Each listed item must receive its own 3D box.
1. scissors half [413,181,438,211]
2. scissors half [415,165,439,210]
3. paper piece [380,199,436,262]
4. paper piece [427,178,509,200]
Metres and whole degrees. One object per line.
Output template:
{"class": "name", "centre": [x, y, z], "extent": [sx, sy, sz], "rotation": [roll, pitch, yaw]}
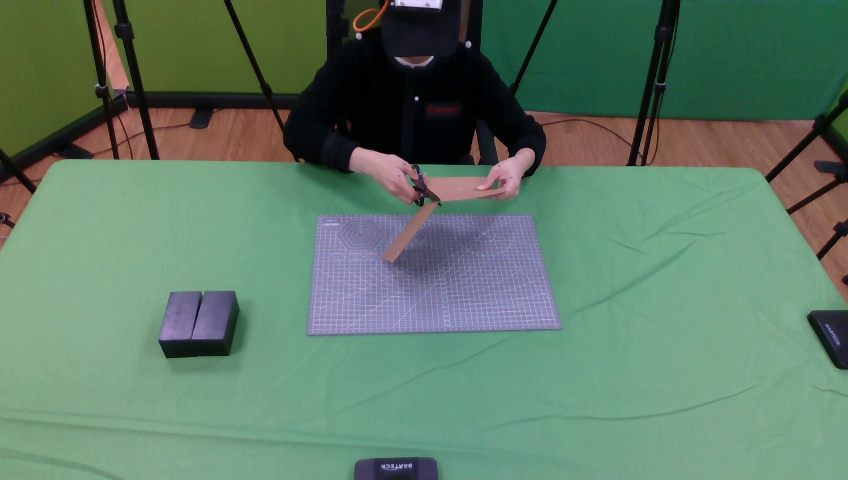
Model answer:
{"class": "scissors half", "centre": [0.003, -0.077, 1.126], "extent": [0.013, 0.040, 0.174], "rotation": [-1, 16, -14]}
{"class": "scissors half", "centre": [0.006, -0.095, 1.118], "extent": [0.013, 0.040, 0.174], "rotation": [4, 30, -17]}
{"class": "paper piece", "centre": [-0.031, -0.018, 1.112], "extent": [0.008, 0.136, 0.138], "rotation": [38, 85, -8]}
{"class": "paper piece", "centre": [0.073, -0.095, 1.130], "extent": [0.136, 0.004, 0.134], "rotation": [-6, 18, -13]}
